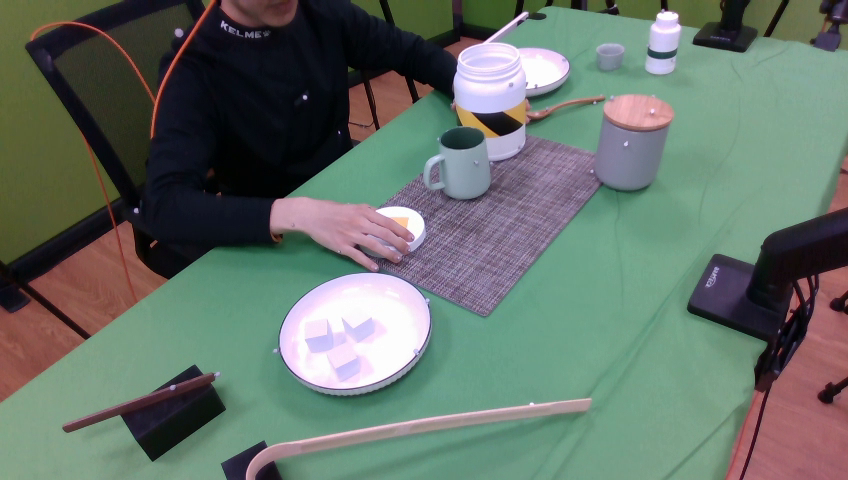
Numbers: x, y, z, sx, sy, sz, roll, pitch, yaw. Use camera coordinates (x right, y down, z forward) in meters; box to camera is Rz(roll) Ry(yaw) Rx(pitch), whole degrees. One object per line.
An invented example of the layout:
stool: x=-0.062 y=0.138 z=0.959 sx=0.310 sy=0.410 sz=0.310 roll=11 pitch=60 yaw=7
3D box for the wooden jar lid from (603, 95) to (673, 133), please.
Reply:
wooden jar lid: x=0.343 y=-0.200 z=0.974 sx=0.108 sy=0.021 sz=0.108 roll=-2 pitch=39 yaw=2

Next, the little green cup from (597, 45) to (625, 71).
little green cup: x=0.423 y=-0.413 z=1.375 sx=0.061 sy=0.039 sz=0.061 roll=-3 pitch=41 yaw=3

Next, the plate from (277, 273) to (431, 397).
plate: x=-0.091 y=0.129 z=0.821 sx=0.207 sy=0.039 sz=0.206 roll=-4 pitch=40 yaw=4

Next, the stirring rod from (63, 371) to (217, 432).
stirring rod: x=-0.337 y=0.192 z=0.723 sx=0.177 sy=0.014 sz=0.005 roll=-18 pitch=42 yaw=-12

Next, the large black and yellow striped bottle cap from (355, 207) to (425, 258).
large black and yellow striped bottle cap: x=-0.056 y=-0.015 z=0.993 sx=0.115 sy=0.019 sz=0.114 roll=-2 pitch=41 yaw=2

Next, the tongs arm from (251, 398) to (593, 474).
tongs arm: x=0.008 y=0.212 z=0.675 sx=0.389 sy=0.028 sz=0.028 roll=-5 pitch=46 yaw=-11

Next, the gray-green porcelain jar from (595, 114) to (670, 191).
gray-green porcelain jar: x=0.346 y=-0.155 z=1.017 sx=0.106 sy=0.127 sz=0.105 roll=-2 pitch=43 yaw=2

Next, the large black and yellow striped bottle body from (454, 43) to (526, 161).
large black and yellow striped bottle body: x=0.124 y=-0.254 z=1.117 sx=0.131 sy=0.185 sz=0.130 roll=-4 pitch=41 yaw=4

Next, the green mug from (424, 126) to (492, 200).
green mug: x=0.055 y=-0.125 z=1.039 sx=0.126 sy=0.105 sz=0.091 roll=-26 pitch=44 yaw=-20

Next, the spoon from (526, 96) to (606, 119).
spoon: x=0.291 y=-0.277 z=1.249 sx=0.194 sy=0.022 sz=0.041 roll=-17 pitch=26 yaw=-11

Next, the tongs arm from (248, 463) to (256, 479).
tongs arm: x=0.012 y=0.262 z=0.615 sx=0.385 sy=0.026 sz=0.050 roll=2 pitch=42 yaw=-2

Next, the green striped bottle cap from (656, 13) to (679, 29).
green striped bottle cap: x=0.515 y=-0.463 z=1.278 sx=0.044 sy=0.020 sz=0.044 roll=-6 pitch=42 yaw=6

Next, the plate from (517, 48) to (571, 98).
plate: x=0.223 y=-0.371 z=1.357 sx=0.209 sy=0.038 sz=0.208 roll=-4 pitch=41 yaw=4

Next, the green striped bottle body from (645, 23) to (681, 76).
green striped bottle body: x=0.520 y=-0.424 z=1.312 sx=0.063 sy=0.120 sz=0.063 roll=-4 pitch=40 yaw=4
